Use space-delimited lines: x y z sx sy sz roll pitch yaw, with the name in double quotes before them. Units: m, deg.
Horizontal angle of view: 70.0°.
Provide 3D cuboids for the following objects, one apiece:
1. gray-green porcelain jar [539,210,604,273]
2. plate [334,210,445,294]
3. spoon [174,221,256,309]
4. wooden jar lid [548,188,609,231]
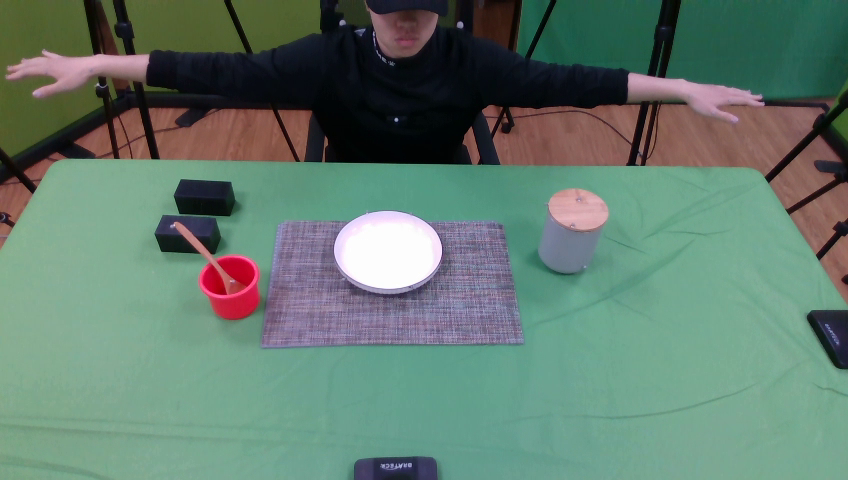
"gray-green porcelain jar" 0.277 -0.007 1.151 0.106 0.127 0.105 2 46 -2
"plate" -0.066 0.026 1.150 0.208 0.039 0.206 2 46 -2
"spoon" -0.360 0.043 1.044 0.194 0.021 0.041 54 51 -14
"wooden jar lid" 0.280 -0.052 1.105 0.108 0.021 0.107 0 48 0
